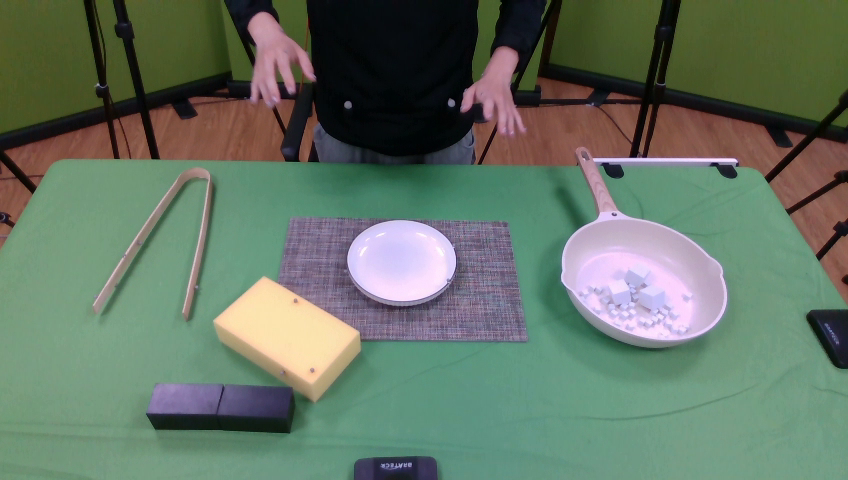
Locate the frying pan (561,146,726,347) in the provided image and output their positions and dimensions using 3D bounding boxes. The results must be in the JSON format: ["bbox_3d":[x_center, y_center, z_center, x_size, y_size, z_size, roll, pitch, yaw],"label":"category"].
[{"bbox_3d":[0.378,-0.005,1.175,0.307,0.103,0.484,-4,55,-9],"label":"frying pan"}]

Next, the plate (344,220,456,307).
[{"bbox_3d":[-0.044,0.047,1.133,0.208,0.039,0.206,3,46,-2],"label":"plate"}]

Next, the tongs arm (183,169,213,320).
[{"bbox_3d":[-0.436,-0.006,1.166,0.028,0.028,0.385,-5,46,-6],"label":"tongs arm"}]

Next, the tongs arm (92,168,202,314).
[{"bbox_3d":[-0.518,-0.012,1.160,0.051,0.026,0.382,7,45,1],"label":"tongs arm"}]

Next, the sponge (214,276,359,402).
[{"bbox_3d":[-0.224,0.158,0.998,0.206,0.061,0.118,27,52,18],"label":"sponge"}]
